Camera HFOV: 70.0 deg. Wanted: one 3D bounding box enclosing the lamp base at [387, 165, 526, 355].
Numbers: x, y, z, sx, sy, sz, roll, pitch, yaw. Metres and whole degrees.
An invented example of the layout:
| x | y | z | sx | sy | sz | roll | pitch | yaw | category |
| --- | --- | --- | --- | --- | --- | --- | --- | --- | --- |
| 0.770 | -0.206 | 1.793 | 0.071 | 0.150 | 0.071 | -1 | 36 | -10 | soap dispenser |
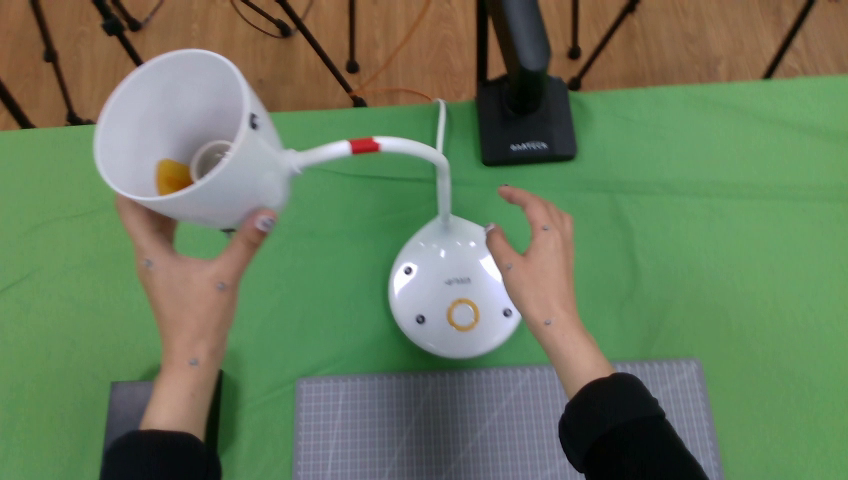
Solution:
| x | y | z | sx | sy | sz | roll | pitch | yaw | category |
| --- | --- | --- | --- | --- | --- | --- | --- | --- | --- |
| 0.029 | 0.014 | 0.635 | 0.161 | 0.181 | 0.177 | -16 | 66 | -3 | lamp base |

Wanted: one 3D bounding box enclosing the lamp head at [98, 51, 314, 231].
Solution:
| x | y | z | sx | sy | sz | roll | pitch | yaw | category |
| --- | --- | --- | --- | --- | --- | --- | --- | --- | --- |
| -0.145 | -0.058 | 0.440 | 0.112 | 0.124 | 0.111 | -6 | 70 | 17 | lamp head |
